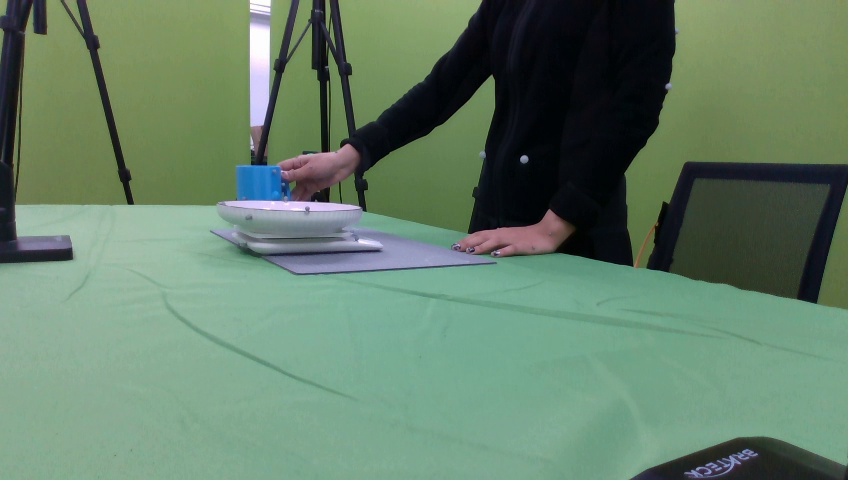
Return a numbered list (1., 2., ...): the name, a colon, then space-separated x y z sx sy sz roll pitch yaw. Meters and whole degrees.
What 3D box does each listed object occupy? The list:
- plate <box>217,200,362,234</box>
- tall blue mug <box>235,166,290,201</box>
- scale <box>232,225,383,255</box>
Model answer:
1. plate: -0.196 -0.035 0.893 0.209 0.038 0.209 2 7 0
2. tall blue mug: -0.292 -0.080 1.093 0.078 0.108 0.107 0 8 1
3. scale: -0.177 -0.004 0.920 0.202 0.031 0.148 -1 9 -30
